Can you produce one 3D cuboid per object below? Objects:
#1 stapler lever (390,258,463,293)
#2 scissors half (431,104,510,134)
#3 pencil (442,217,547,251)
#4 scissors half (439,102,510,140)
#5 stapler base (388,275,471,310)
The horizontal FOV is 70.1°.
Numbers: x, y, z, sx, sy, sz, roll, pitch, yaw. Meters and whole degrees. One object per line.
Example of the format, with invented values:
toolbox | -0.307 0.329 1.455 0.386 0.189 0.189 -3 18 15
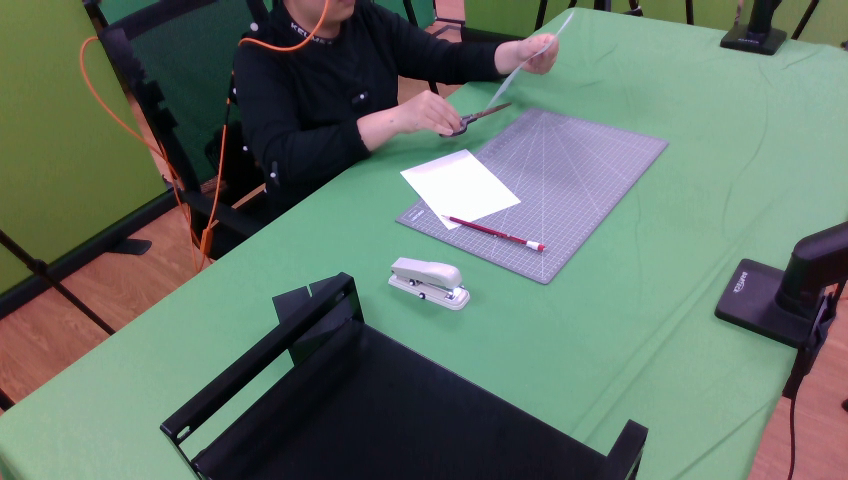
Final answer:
stapler lever | 0.002 0.046 0.881 0.117 0.040 0.027 17 44 29
scissors half | 0.095 -0.247 1.209 0.176 0.013 0.039 -19 37 -11
pencil | 0.110 -0.012 0.979 0.192 0.012 0.012 18 46 30
scissors half | 0.104 -0.237 1.194 0.176 0.013 0.040 -32 46 -24
stapler base | 0.007 0.066 0.897 0.129 0.024 0.041 17 44 29
